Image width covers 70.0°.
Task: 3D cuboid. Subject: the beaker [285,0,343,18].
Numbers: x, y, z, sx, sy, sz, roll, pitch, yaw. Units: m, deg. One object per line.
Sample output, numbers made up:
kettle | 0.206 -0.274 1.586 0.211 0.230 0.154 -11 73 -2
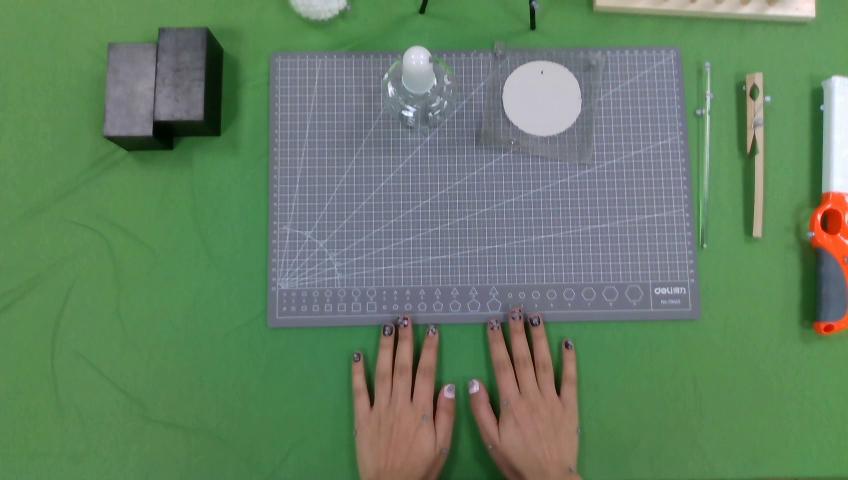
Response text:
beaker | -0.123 -0.283 0.626 0.084 0.100 0.074 -9 82 -1

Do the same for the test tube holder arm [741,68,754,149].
test tube holder arm | 0.351 -0.142 0.655 0.010 0.015 0.087 -4 82 35

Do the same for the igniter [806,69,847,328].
igniter | 0.430 -0.045 0.638 0.057 0.025 0.275 7 83 -10

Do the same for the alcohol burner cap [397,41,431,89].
alcohol burner cap | -0.009 -0.167 0.567 0.034 0.048 0.033 0 77 -1

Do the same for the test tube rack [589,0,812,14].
test tube rack | 0.306 -0.294 0.638 0.242 0.085 0.066 2 83 0

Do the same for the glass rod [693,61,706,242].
glass rod | 0.297 -0.096 0.653 0.008 0.008 0.199 4 86 0

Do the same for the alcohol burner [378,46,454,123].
alcohol burner | -0.009 -0.161 0.602 0.078 0.119 0.077 0 83 2

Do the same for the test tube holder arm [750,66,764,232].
test tube holder arm | 0.355 -0.098 0.647 0.013 0.015 0.178 -4 82 35

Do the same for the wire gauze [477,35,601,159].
wire gauze | 0.125 -0.157 0.657 0.125 0.011 0.121 10 84 0

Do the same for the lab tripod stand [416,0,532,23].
lab tripod stand | 0.059 -0.292 0.611 0.148 0.131 0.148 0 85 0
